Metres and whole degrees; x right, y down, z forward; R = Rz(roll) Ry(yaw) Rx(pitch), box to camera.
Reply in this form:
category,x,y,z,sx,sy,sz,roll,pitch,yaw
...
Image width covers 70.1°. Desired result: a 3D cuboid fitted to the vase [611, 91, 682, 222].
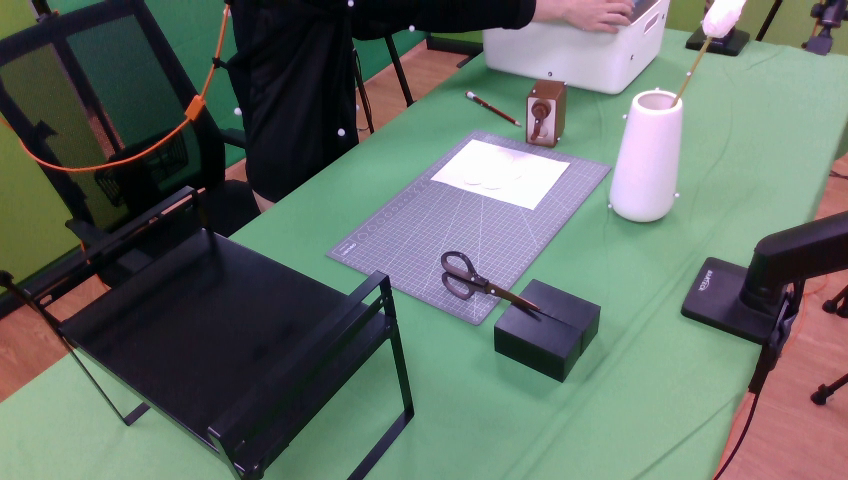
category,x,y,z,sx,sy,sz,roll,pitch,yaw
vase,0.348,-0.125,0.935,0.098,0.201,0.097,-3,40,3

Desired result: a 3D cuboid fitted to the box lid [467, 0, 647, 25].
category,x,y,z,sx,sy,sz,roll,pitch,yaw
box lid,0.307,-0.540,1.327,0.368,0.015,0.264,23,49,34

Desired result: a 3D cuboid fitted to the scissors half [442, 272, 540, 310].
category,x,y,z,sx,sy,sz,roll,pitch,yaw
scissors half,0.089,0.074,0.832,0.013,0.040,0.173,-24,23,-38

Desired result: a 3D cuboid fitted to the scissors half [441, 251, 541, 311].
category,x,y,z,sx,sy,sz,roll,pitch,yaw
scissors half,0.087,0.056,0.824,0.173,0.040,0.013,29,44,36

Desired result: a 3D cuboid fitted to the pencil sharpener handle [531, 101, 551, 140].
category,x,y,z,sx,sy,sz,roll,pitch,yaw
pencil sharpener handle,0.211,-0.220,1.118,0.036,0.068,0.030,17,46,17

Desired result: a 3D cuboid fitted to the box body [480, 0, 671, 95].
category,x,y,z,sx,sy,sz,roll,pitch,yaw
box body,0.339,-0.480,1.381,0.361,0.161,0.255,22,48,30

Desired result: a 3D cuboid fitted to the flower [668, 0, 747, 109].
category,x,y,z,sx,sy,sz,roll,pitch,yaw
flower,0.354,-0.187,0.879,0.038,0.362,0.044,30,48,14

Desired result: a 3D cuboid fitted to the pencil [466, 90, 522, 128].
category,x,y,z,sx,sy,sz,roll,pitch,yaw
pencil,0.148,-0.281,1.295,0.012,0.012,0.192,-26,46,-21

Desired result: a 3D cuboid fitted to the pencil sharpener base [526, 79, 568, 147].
category,x,y,z,sx,sy,sz,roll,pitch,yaw
pencil sharpener base,0.234,-0.242,1.160,0.061,0.107,0.077,12,45,21
